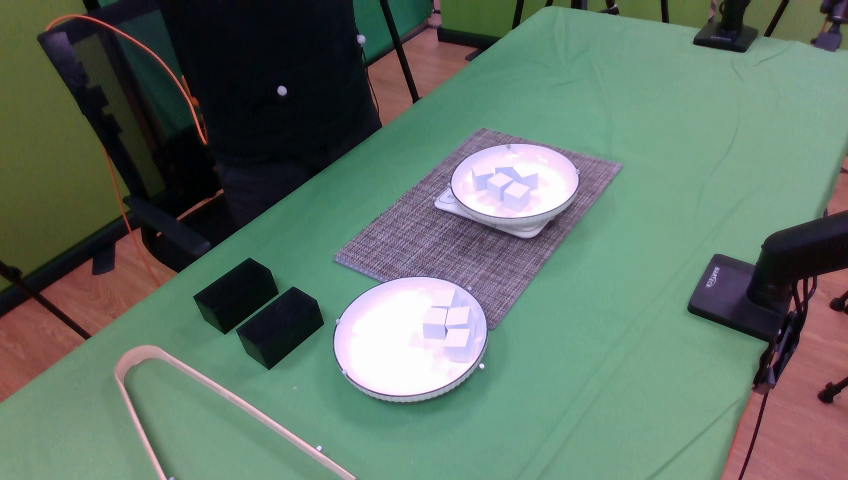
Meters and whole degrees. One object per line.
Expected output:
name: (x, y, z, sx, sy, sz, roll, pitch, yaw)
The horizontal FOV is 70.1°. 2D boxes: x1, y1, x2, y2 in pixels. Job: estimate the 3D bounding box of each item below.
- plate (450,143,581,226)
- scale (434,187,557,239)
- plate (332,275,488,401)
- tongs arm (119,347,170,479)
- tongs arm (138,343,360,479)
plate: (0.148, -0.087, 0.986, 0.209, 0.038, 0.208, -4, 41, 4)
scale: (0.132, -0.075, 1.025, 0.199, 0.032, 0.149, 22, 48, 30)
plate: (-0.017, 0.130, 0.808, 0.207, 0.039, 0.206, -4, 41, 4)
tongs arm: (-0.291, 0.251, 0.707, 0.051, 0.026, 0.381, -32, 45, -26)
tongs arm: (-0.228, 0.208, 0.753, 0.384, 0.028, 0.028, 21, 51, 29)
